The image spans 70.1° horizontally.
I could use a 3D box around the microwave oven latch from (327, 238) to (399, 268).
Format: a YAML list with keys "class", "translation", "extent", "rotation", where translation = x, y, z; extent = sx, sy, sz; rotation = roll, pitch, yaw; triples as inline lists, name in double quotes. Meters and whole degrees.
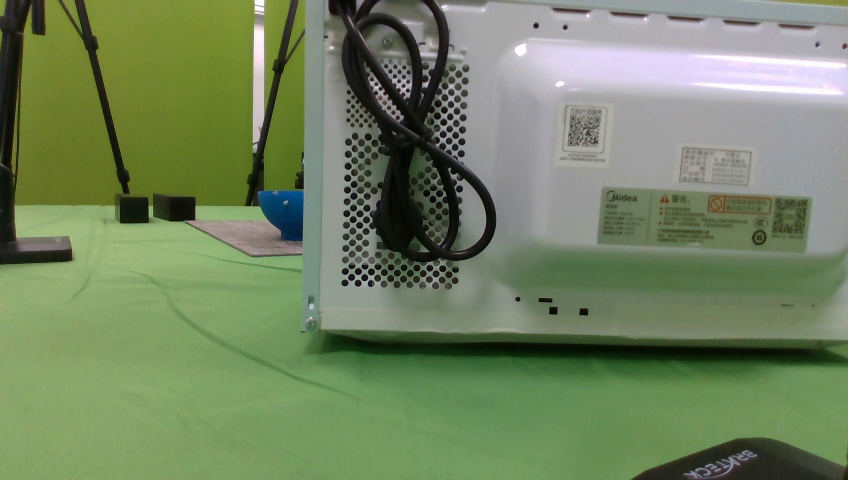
- class: "microwave oven latch"
  translation: [-0.069, 0.015, 0.694]
  extent: [0.079, 0.029, 0.030]
  rotation: [3, 7, -3]

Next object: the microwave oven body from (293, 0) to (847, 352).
- class: "microwave oven body"
  translation: [0.122, -0.055, 0.550]
  extent: [0.442, 0.260, 0.325]
  rotation: [3, 7, -5]

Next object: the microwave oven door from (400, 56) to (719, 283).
- class: "microwave oven door"
  translation: [0.155, -0.077, 0.698]
  extent: [0.356, 0.243, 0.039]
  rotation: [2, 8, -5]

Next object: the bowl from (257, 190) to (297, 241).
- class: "bowl"
  translation: [-0.206, -0.041, 1.027]
  extent: [0.151, 0.077, 0.151]
  rotation: [3, 8, 0]
